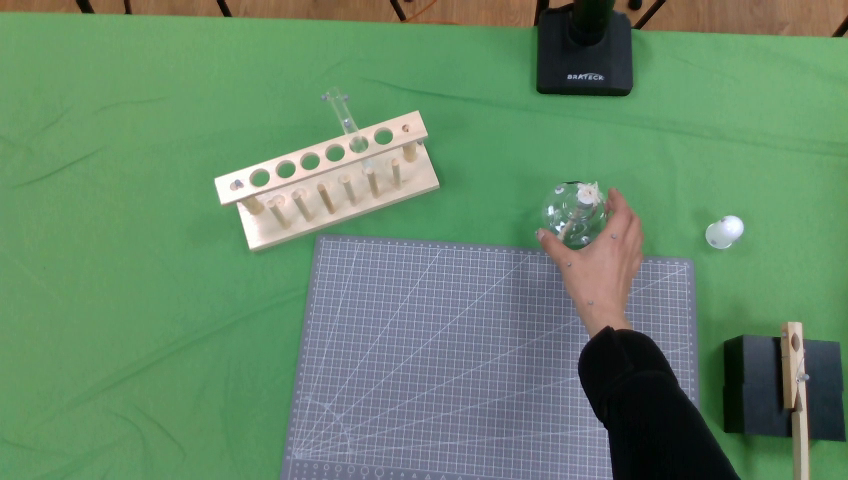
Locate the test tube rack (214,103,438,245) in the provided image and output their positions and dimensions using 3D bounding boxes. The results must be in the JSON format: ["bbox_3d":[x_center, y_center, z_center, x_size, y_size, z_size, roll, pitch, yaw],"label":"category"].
[{"bbox_3d":[-0.109,-0.075,0.714,0.242,0.085,0.066,-20,73,-3],"label":"test tube rack"}]

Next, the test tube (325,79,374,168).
[{"bbox_3d":[-0.079,-0.123,0.672,0.017,0.151,0.017,-4,63,9],"label":"test tube"}]

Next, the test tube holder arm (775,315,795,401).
[{"bbox_3d":[0.372,0.121,0.622,0.010,0.015,0.087,3,75,3],"label":"test tube holder arm"}]

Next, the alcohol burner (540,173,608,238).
[{"bbox_3d":[0.171,-0.044,0.679,0.078,0.119,0.077,0,75,2],"label":"alcohol burner"}]

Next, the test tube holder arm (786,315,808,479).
[{"bbox_3d":[0.375,0.165,0.611,0.013,0.015,0.177,3,75,3],"label":"test tube holder arm"}]

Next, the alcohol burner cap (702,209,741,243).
[{"bbox_3d":[0.346,-0.018,0.701,0.034,0.048,0.033,-1,73,3],"label":"alcohol burner cap"}]
